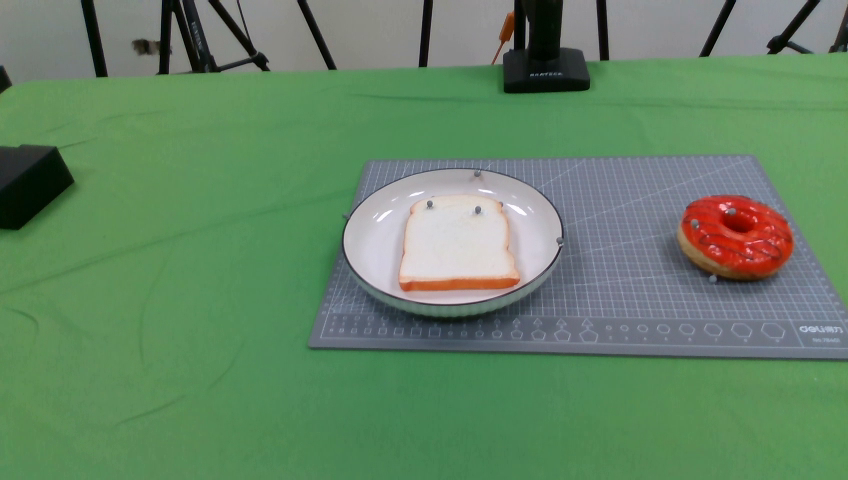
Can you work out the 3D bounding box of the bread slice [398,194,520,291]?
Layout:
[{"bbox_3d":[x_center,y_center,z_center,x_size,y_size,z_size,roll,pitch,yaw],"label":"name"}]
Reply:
[{"bbox_3d":[0.028,0.000,0.582,0.107,0.018,0.133,-3,39,0],"label":"bread slice"}]

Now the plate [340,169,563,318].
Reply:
[{"bbox_3d":[0.026,0.002,0.578,0.209,0.038,0.207,-3,39,3],"label":"plate"}]

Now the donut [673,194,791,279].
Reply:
[{"bbox_3d":[0.280,-0.003,0.552,0.099,0.049,0.098,-2,41,2],"label":"donut"}]
